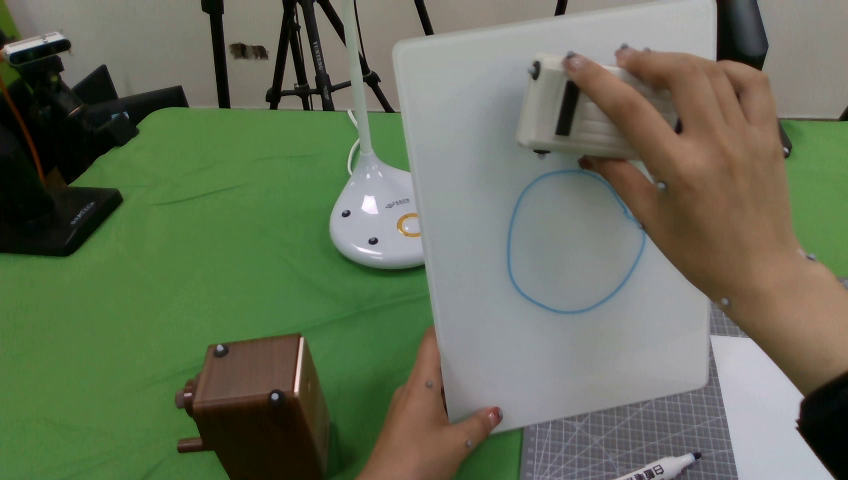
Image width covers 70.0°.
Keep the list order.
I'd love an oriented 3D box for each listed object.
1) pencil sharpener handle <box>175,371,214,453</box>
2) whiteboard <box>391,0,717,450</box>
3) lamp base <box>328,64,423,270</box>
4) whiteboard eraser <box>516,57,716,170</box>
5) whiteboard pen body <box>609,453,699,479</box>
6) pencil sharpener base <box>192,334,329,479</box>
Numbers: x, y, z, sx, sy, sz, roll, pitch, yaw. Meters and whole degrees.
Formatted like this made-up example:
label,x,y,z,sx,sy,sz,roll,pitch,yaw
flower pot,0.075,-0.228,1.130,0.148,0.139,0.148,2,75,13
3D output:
label,x,y,z,sx,sy,sz,roll,pitch,yaw
pencil sharpener handle,-0.170,0.128,0.438,0.030,0.068,0.035,-7,27,-1
whiteboard,0.098,-0.019,0.497,0.217,0.307,0.143,-10,20,-5
lamp base,-0.043,-0.087,0.650,0.161,0.182,0.177,-28,42,-26
whiteboard eraser,0.115,-0.076,0.370,0.113,0.056,0.041,4,23,-11
whiteboard pen body,0.137,0.177,0.431,0.141,0.017,0.017,-16,40,-13
pencil sharpener base,-0.119,0.130,0.450,0.077,0.108,0.060,-7,40,-1
